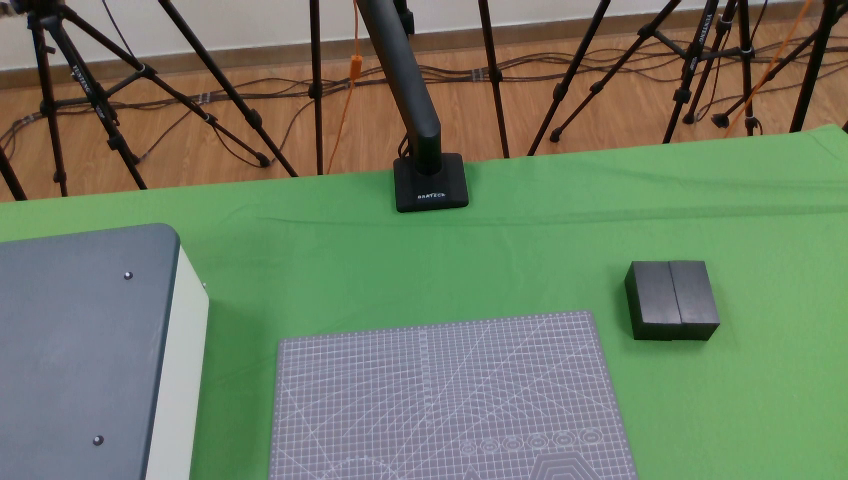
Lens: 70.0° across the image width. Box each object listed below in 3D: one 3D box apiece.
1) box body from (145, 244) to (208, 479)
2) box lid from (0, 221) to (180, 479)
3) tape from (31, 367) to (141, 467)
[{"bbox_3d":[-0.424,0.181,0.747,0.254,0.162,0.360,-6,55,-2],"label":"box body"},{"bbox_3d":[-0.427,0.136,0.688,0.263,0.015,0.367,-7,56,-2],"label":"box lid"},{"bbox_3d":[-0.430,0.226,0.775,0.117,0.053,0.115,-3,52,4],"label":"tape"}]
